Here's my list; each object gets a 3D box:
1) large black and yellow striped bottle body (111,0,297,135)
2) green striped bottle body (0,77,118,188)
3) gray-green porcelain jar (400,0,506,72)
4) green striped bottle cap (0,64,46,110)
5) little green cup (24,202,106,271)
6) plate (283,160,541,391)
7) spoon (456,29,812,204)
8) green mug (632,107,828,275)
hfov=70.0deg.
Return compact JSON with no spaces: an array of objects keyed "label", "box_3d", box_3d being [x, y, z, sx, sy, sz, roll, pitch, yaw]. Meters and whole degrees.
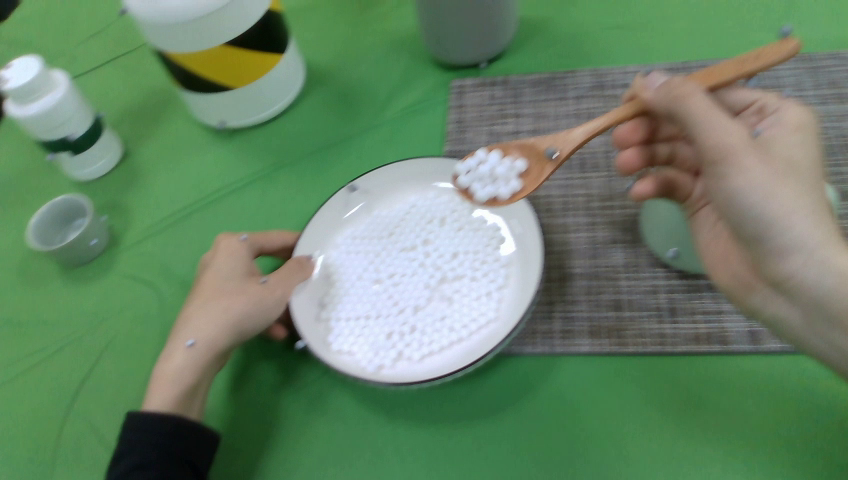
[{"label":"large black and yellow striped bottle body","box_3d":[-0.215,-0.208,0.594,0.130,0.186,0.129,-5,57,8]},{"label":"green striped bottle body","box_3d":[-0.364,-0.111,0.597,0.063,0.120,0.062,-5,56,8]},{"label":"gray-green porcelain jar","box_3d":[0.028,-0.244,0.609,0.106,0.128,0.105,-5,57,7]},{"label":"green striped bottle cap","box_3d":[-0.373,-0.140,0.554,0.044,0.020,0.044,-3,58,5]},{"label":"little green cup","box_3d":[-0.335,-0.001,0.570,0.061,0.039,0.061,-5,55,8]},{"label":"plate","box_3d":[-0.009,0.025,0.491,0.209,0.038,0.207,-6,56,9]},{"label":"spoon","box_3d":[0.108,-0.067,0.323,0.193,0.022,0.041,-24,61,14]},{"label":"green mug","box_3d":[0.222,-0.029,0.443,0.124,0.106,0.092,18,62,20]}]
